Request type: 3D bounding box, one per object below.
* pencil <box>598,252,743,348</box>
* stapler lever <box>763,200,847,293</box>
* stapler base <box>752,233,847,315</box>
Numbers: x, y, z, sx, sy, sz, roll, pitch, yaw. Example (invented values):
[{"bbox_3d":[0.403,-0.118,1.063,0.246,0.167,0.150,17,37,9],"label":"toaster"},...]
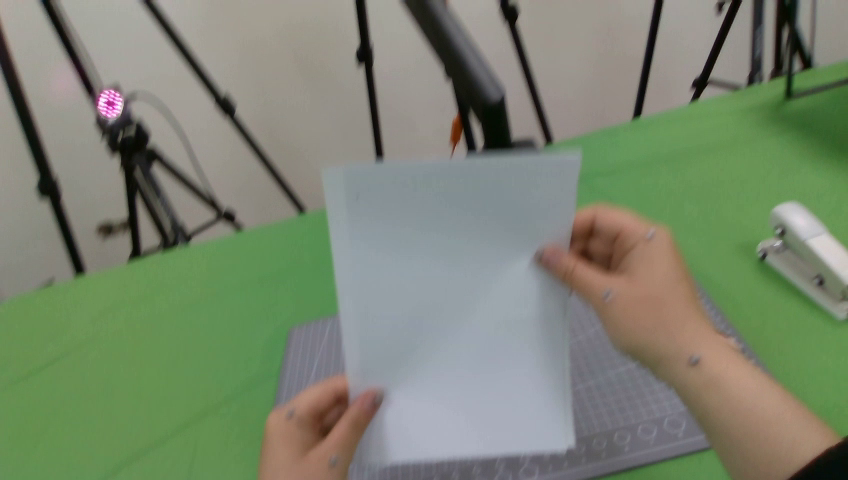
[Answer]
[{"bbox_3d":[0.237,0.055,0.602,0.012,0.012,0.192,-25,32,-13],"label":"pencil"},{"bbox_3d":[0.365,0.002,0.568,0.027,0.040,0.117,-20,32,0],"label":"stapler lever"},{"bbox_3d":[0.371,0.022,0.583,0.041,0.024,0.129,-20,32,0],"label":"stapler base"}]
